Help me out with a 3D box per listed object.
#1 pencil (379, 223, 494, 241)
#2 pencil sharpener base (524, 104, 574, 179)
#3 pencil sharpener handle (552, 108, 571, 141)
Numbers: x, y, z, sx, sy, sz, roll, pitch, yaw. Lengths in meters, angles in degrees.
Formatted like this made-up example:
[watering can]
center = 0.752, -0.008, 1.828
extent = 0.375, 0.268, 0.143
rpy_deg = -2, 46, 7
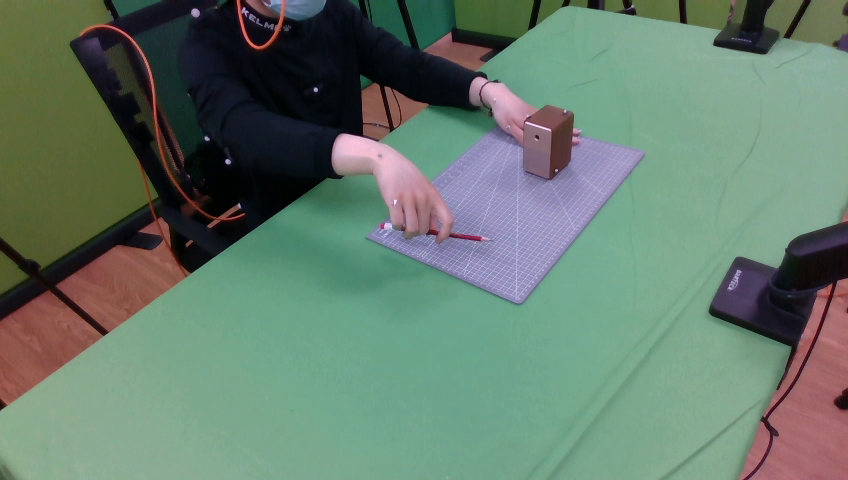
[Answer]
[pencil]
center = 0.016, -0.012, 0.924
extent = 0.193, 0.012, 0.012
rpy_deg = 8, 42, 26
[pencil sharpener base]
center = 0.222, -0.176, 1.071
extent = 0.061, 0.107, 0.077
rpy_deg = 26, 50, 33
[pencil sharpener handle]
center = 0.254, -0.212, 1.091
extent = 0.035, 0.068, 0.031
rpy_deg = 27, 51, 33
